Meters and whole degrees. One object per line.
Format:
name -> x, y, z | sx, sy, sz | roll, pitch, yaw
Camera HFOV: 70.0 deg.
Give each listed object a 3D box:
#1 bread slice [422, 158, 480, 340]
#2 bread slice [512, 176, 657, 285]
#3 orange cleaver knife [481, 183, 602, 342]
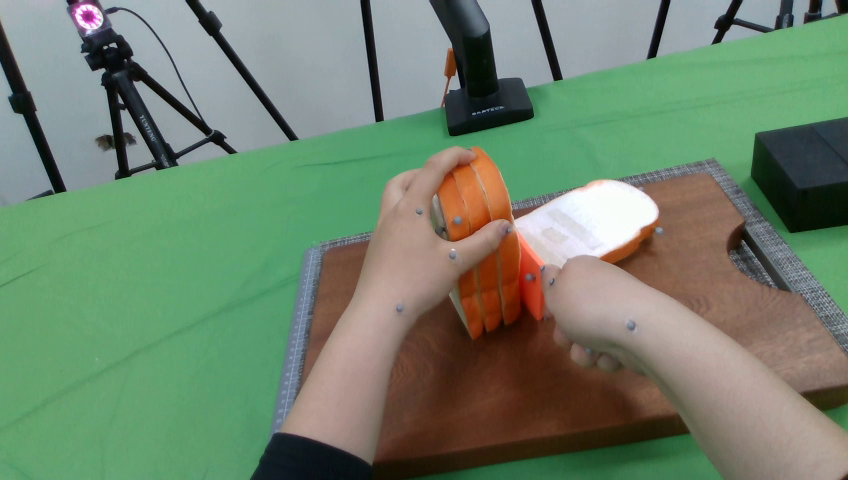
bread slice -> 0.021, -0.001, 0.506 | 0.018, 0.135, 0.106 | -14, 35, -6
bread slice -> 0.146, -0.012, 0.557 | 0.131, 0.019, 0.103 | -29, 37, -8
orange cleaver knife -> 0.084, 0.024, 0.491 | 0.012, 0.078, 0.209 | -14, 35, -10
